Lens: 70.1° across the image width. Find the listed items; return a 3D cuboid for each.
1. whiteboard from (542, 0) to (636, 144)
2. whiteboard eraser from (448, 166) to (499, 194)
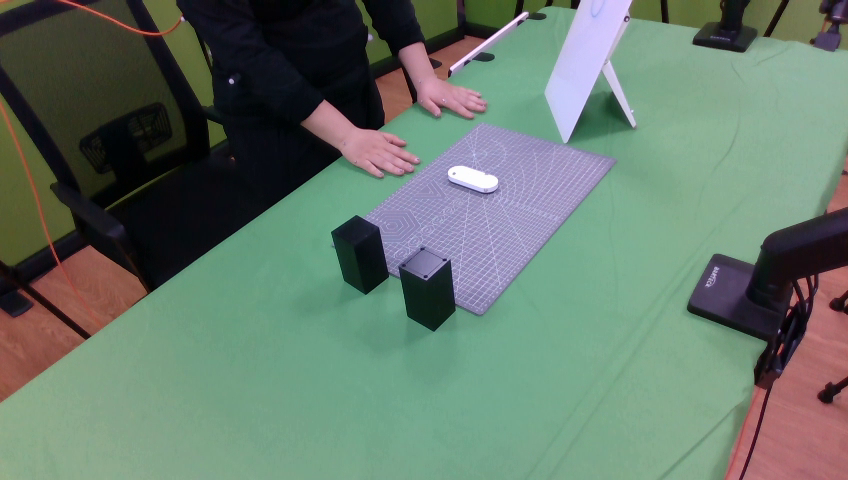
[{"bbox_3d":[0.366,-0.351,1.160,0.144,0.305,0.216,10,39,-10],"label":"whiteboard"},{"bbox_3d":[0.088,-0.108,1.082,0.100,0.019,0.041,22,49,31],"label":"whiteboard eraser"}]
